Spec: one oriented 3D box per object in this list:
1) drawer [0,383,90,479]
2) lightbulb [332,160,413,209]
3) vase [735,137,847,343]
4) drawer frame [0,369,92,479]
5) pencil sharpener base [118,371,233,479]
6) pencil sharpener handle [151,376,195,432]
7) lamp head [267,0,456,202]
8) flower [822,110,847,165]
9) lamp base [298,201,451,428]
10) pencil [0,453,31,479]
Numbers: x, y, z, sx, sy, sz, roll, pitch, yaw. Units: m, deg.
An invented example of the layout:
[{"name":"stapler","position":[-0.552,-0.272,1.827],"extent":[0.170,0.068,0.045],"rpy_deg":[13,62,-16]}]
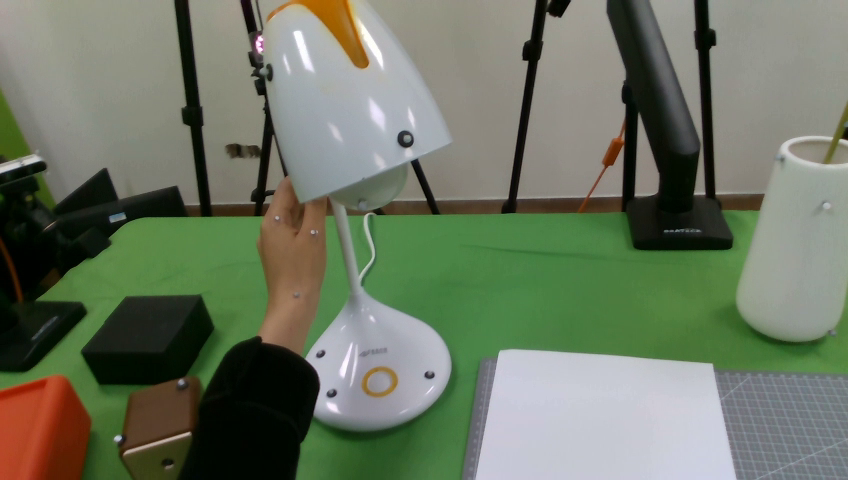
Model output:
[{"name":"drawer","position":[-0.404,0.232,0.501],"extent":[0.195,0.074,0.209],"rpy_deg":[-15,31,-11]},{"name":"lightbulb","position":[-0.042,-0.074,0.397],"extent":[0.059,0.108,0.059],"rpy_deg":[-11,8,2]},{"name":"vase","position":[0.370,0.003,0.595],"extent":[0.098,0.201,0.097],"rpy_deg":[-6,31,4]},{"name":"drawer frame","position":[-0.407,0.229,0.502],"extent":[0.202,0.083,0.211],"rpy_deg":[-16,32,-12]},{"name":"pencil sharpener base","position":[-0.208,0.178,0.520],"extent":[0.061,0.108,0.076],"rpy_deg":[-15,32,-11]},{"name":"pencil sharpener handle","position":[-0.226,0.144,0.555],"extent":[0.036,0.068,0.030],"rpy_deg":[-9,31,-15]},{"name":"lamp head","position":[-0.051,-0.098,0.400],"extent":[0.112,0.123,0.112],"rpy_deg":[-24,4,2]},{"name":"flower","position":[0.351,-0.055,0.535],"extent":[0.038,0.365,0.043],"rpy_deg":[-36,53,-17]},{"name":"lamp base","position":[-0.065,0.063,0.606],"extent":[0.161,0.182,0.177],"rpy_deg":[-16,31,-14]},{"name":"pencil","position":[-0.394,0.250,0.476],"extent":[0.012,0.012,0.193],"rpy_deg":[14,49,31]}]
